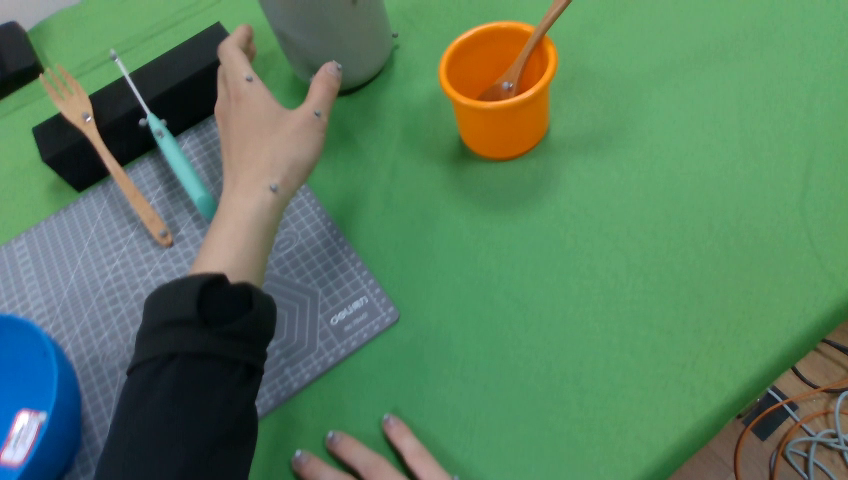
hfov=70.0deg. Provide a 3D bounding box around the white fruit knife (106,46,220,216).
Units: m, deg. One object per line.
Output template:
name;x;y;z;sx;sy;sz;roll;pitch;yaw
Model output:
white fruit knife;-0.241;-0.104;0.545;0.016;0.027;0.206;-35;73;-10

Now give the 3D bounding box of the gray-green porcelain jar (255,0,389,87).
gray-green porcelain jar;-0.092;-0.213;0.549;0.106;0.128;0.105;-6;59;10

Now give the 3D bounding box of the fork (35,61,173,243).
fork;-0.282;-0.078;0.537;0.028;0.019;0.206;-36;78;-15

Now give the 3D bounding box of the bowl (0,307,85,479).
bowl;-0.296;0.130;0.420;0.151;0.077;0.150;-5;59;9

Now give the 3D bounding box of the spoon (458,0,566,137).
spoon;0.086;-0.157;0.467;0.022;0.194;0.041;0;48;-41
